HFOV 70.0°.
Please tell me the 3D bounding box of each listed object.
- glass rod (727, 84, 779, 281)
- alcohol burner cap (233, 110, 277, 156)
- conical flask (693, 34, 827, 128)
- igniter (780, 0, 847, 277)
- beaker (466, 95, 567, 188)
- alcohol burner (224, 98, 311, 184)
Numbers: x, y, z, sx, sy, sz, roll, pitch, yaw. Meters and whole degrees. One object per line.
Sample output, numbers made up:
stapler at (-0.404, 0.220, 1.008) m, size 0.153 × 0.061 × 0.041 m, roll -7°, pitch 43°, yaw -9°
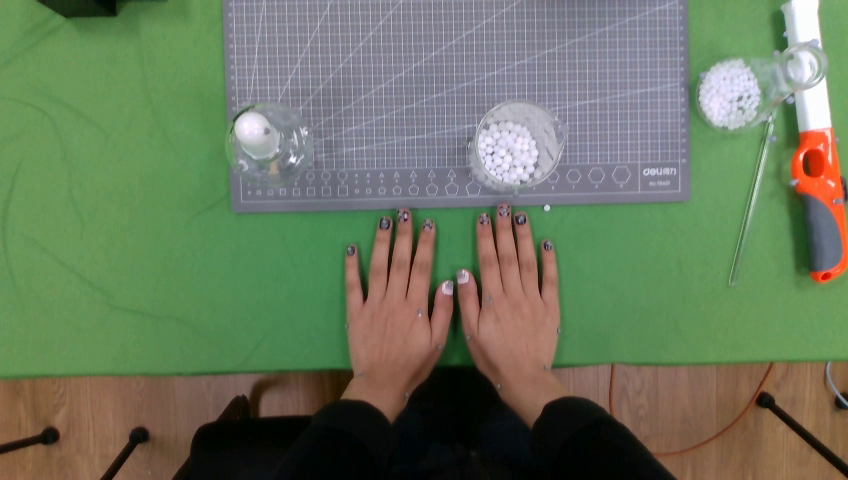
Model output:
glass rod at (0.326, -0.057, 0.602) m, size 0.008 × 0.008 × 0.199 m, roll 12°, pitch 92°, yaw -2°
alcohol burner cap at (-0.140, -0.090, 0.497) m, size 0.034 × 0.048 × 0.034 m, roll 1°, pitch 84°, yaw -7°
conical flask at (0.302, -0.146, 0.541) m, size 0.075 × 0.122 × 0.075 m, roll 0°, pitch 92°, yaw -1°
igniter at (0.381, -0.102, 0.592) m, size 0.057 × 0.025 × 0.276 m, roll -9°, pitch 93°, yaw -12°
beaker at (0.078, -0.085, 0.546) m, size 0.084 × 0.100 × 0.074 m, roll -21°, pitch 92°, yaw -1°
alcohol burner at (-0.141, -0.089, 0.533) m, size 0.078 × 0.119 × 0.078 m, roll 0°, pitch 91°, yaw -3°
